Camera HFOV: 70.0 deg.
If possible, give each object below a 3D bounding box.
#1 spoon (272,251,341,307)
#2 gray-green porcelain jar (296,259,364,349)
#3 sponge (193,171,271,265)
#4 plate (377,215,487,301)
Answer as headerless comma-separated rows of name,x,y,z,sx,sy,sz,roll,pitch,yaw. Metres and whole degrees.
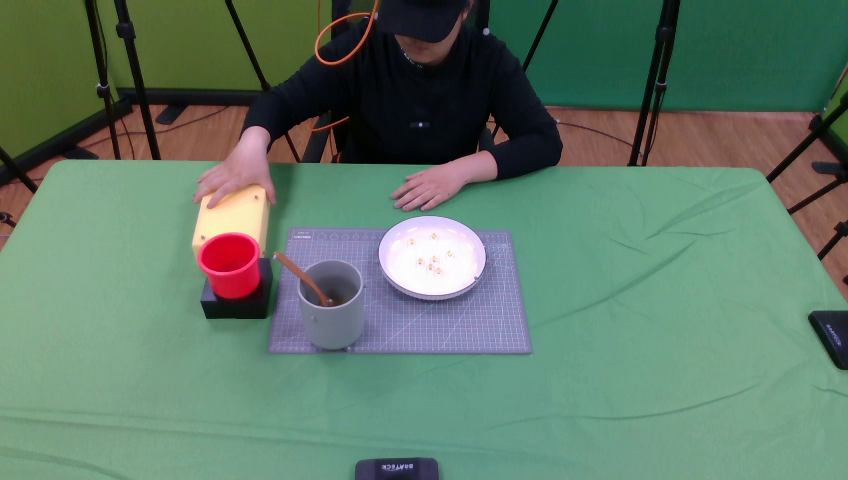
spoon,-0.180,0.078,0.982,0.021,0.195,0.041,-9,46,28
gray-green porcelain jar,-0.152,0.111,1.003,0.106,0.127,0.105,2,46,-2
sponge,-0.371,-0.046,1.189,0.118,0.061,0.205,-3,47,-6
plate,0.015,0.037,1.147,0.208,0.039,0.206,2,46,-2
